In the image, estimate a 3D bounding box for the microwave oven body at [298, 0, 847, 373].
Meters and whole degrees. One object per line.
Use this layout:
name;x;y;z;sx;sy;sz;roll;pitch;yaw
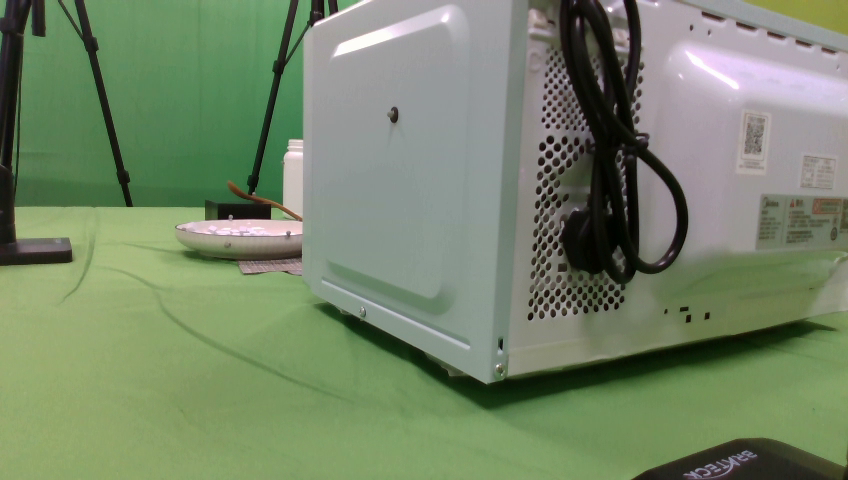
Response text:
microwave oven body;0.151;-0.055;0.542;0.444;0.260;0.324;-1;7;-33

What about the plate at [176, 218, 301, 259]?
plate;-0.248;-0.003;0.877;0.209;0.038;0.209;1;8;0

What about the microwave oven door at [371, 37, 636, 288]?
microwave oven door;0.109;-0.080;0.686;0.358;0.243;0.039;-2;9;-33

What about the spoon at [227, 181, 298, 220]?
spoon;-0.315;-0.074;1.234;0.195;0.021;0.041;24;-9;-37

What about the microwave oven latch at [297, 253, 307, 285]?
microwave oven latch;-0.082;0.027;0.582;0.079;0.029;0.030;-1;7;-33

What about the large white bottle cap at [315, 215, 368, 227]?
large white bottle cap;-0.178;-0.041;1.308;0.115;0.018;0.115;2;6;0

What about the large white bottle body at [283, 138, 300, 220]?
large white bottle body;-0.265;-0.143;1.423;0.131;0.184;0.130;2;7;0

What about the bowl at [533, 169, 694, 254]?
bowl;0.181;-0.030;0.596;0.151;0.077;0.151;1;7;0
